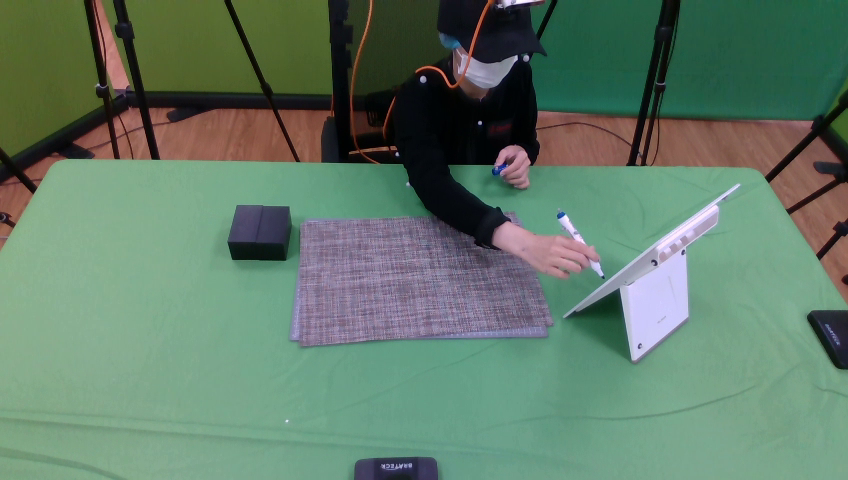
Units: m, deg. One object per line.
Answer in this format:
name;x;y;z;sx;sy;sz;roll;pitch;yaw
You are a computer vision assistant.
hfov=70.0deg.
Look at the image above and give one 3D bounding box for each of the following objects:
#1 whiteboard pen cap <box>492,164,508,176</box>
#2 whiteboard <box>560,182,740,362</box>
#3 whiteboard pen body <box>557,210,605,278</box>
whiteboard pen cap;0.162;-0.151;1.302;0.033;0.018;0.018;-28;54;-16
whiteboard;0.406;0.075;1.001;0.217;0.306;0.143;-28;73;-28
whiteboard pen body;0.267;0.009;1.022;0.141;0.017;0.017;54;53;-11
